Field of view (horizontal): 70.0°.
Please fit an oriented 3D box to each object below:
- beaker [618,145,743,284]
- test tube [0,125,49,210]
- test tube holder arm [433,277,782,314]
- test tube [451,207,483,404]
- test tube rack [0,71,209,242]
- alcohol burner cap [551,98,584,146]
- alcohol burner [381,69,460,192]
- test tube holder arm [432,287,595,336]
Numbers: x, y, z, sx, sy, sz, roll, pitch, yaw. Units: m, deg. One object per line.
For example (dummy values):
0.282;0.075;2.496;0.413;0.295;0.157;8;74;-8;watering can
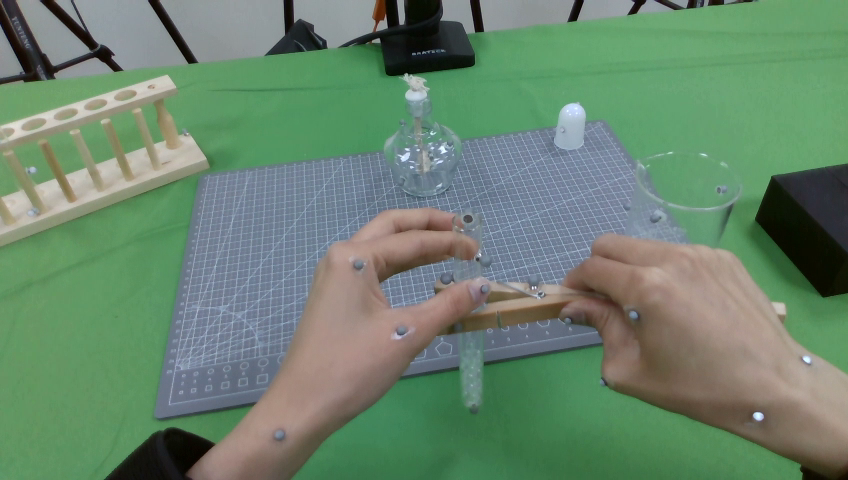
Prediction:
0.194;-0.015;0.480;0.074;0.101;0.083;-30;48;-24;beaker
-0.385;-0.088;0.551;0.017;0.152;0.017;-3;42;3;test tube
0.092;0.029;0.326;0.178;0.015;0.013;0;50;14;test tube holder arm
0.026;0.045;0.349;0.017;0.151;0.017;-3;39;2;test tube
-0.355;-0.082;0.607;0.242;0.086;0.066;-26;47;-21;test tube rack
0.154;-0.128;0.644;0.034;0.048;0.033;-2;44;2;alcohol burner cap
-0.005;-0.106;0.581;0.078;0.120;0.077;-3;42;3;alcohol burner
0.049;0.037;0.330;0.088;0.015;0.010;-12;47;3;test tube holder arm
